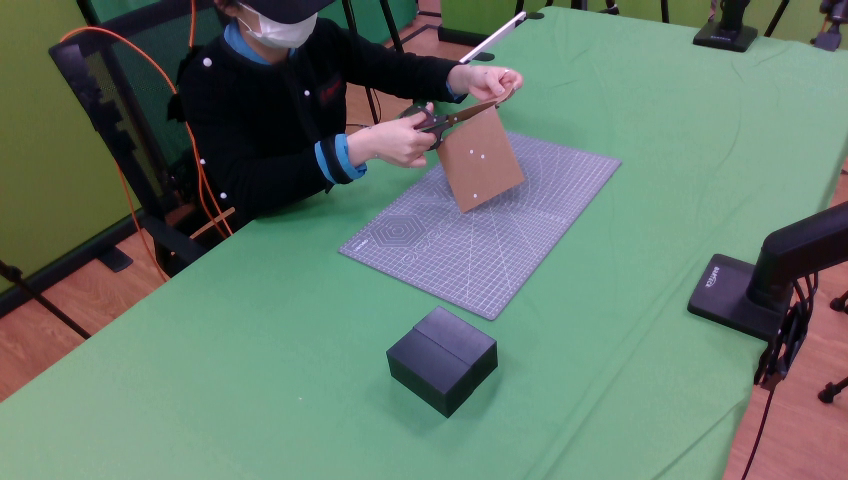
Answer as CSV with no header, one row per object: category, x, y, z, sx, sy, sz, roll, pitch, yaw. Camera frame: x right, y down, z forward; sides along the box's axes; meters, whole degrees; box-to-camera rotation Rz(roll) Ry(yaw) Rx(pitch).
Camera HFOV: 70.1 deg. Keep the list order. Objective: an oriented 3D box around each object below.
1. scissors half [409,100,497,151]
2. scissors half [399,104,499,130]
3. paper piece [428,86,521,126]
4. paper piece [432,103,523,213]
scissors half,0.047,-0.191,1.002,0.174,0.040,0.013,-26,21,32
scissors half,0.038,-0.208,0.993,0.174,0.040,0.013,-3,36,20
paper piece,0.088,-0.231,1.055,0.135,0.009,0.138,-11,18,33
paper piece,0.085,-0.131,0.989,0.135,0.135,0.004,-28,-9,38
